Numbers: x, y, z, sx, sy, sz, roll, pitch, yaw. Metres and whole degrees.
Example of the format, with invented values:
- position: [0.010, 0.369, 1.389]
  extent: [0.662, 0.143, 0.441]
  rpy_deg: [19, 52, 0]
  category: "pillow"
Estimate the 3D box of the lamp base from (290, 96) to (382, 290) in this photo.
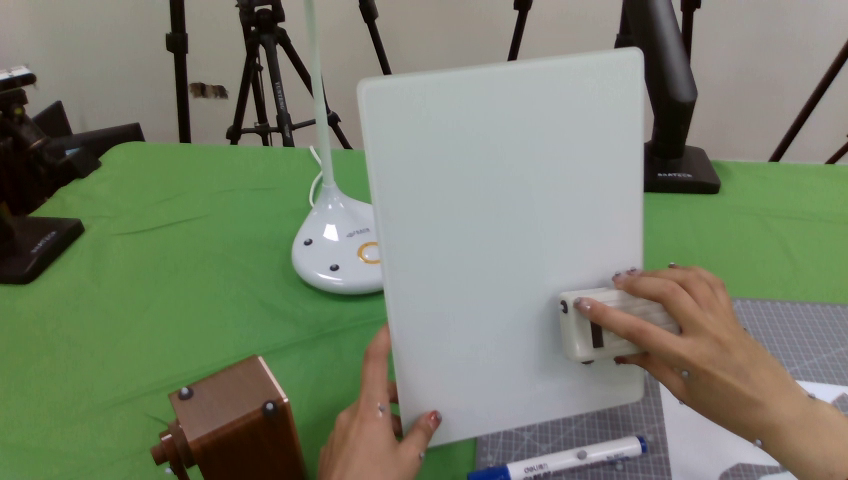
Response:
- position: [-0.089, -0.062, 0.685]
  extent: [0.161, 0.182, 0.177]
  rpy_deg: [-28, 41, -31]
  category: "lamp base"

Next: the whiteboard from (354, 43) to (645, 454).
- position: [0.062, -0.002, 0.539]
  extent: [0.217, 0.307, 0.143]
  rpy_deg: [-9, 17, -9]
  category: "whiteboard"

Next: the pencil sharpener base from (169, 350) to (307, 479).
- position: [-0.140, 0.150, 0.456]
  extent: [0.077, 0.108, 0.060]
  rpy_deg: [-23, 41, -26]
  category: "pencil sharpener base"

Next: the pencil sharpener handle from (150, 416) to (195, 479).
- position: [-0.181, 0.159, 0.424]
  extent: [0.031, 0.068, 0.035]
  rpy_deg: [-23, 29, -26]
  category: "pencil sharpener handle"

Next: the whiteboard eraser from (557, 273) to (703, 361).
- position: [0.164, 0.062, 0.489]
  extent: [0.113, 0.055, 0.041]
  rpy_deg: [-8, 6, -9]
  category: "whiteboard eraser"

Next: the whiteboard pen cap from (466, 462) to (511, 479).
- position: [0.050, 0.183, 0.469]
  extent: [0.033, 0.018, 0.018]
  rpy_deg: [-9, 36, -11]
  category: "whiteboard pen cap"

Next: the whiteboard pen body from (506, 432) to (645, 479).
- position: [0.108, 0.174, 0.479]
  extent: [0.141, 0.017, 0.017]
  rpy_deg: [-9, 36, -9]
  category: "whiteboard pen body"
